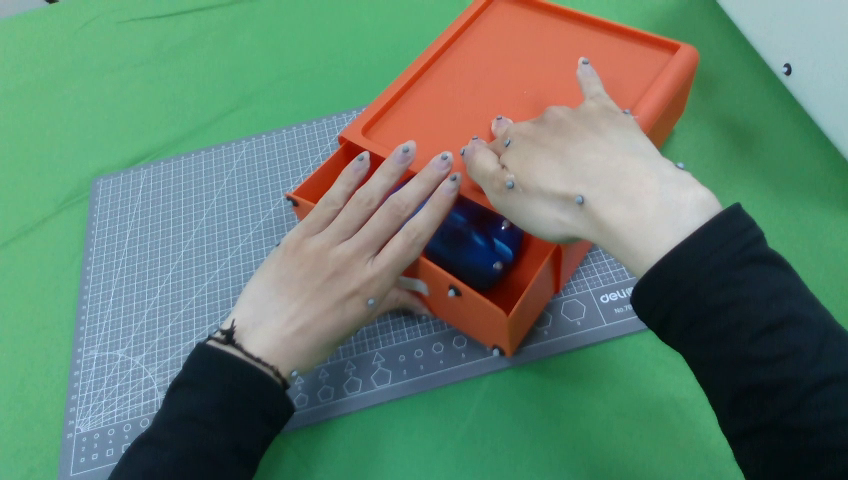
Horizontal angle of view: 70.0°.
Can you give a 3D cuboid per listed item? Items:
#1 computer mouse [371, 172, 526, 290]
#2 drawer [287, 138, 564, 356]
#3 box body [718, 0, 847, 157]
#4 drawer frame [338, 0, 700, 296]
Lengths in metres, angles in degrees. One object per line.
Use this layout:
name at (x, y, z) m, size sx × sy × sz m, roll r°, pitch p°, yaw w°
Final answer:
computer mouse at (0.019, -0.011, 0.465) m, size 0.116 × 0.041 × 0.062 m, roll 29°, pitch 61°, yaw 18°
drawer at (0.039, -0.046, 0.471) m, size 0.193 × 0.074 × 0.211 m, roll 28°, pitch 63°, yaw 26°
box body at (0.414, -0.212, 0.469) m, size 0.254 × 0.162 × 0.360 m, roll -14°, pitch 55°, yaw 0°
drawer frame at (0.076, -0.092, 0.492) m, size 0.200 × 0.083 × 0.213 m, roll 28°, pitch 64°, yaw 25°
